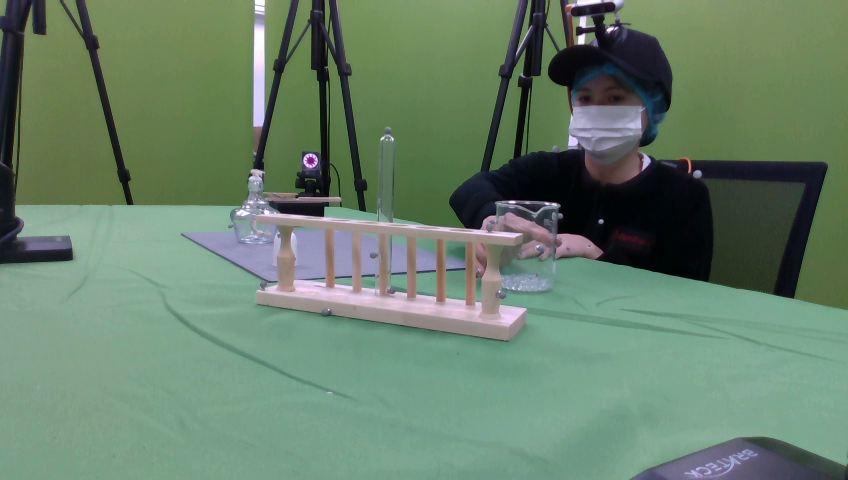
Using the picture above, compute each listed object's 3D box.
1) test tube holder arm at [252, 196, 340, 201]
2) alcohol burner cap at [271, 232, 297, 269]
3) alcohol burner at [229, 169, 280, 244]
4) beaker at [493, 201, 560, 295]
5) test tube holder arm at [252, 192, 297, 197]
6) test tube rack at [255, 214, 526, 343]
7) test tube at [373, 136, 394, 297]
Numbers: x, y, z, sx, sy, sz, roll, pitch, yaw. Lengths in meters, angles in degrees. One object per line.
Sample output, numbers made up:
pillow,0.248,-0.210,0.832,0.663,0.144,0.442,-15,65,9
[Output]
test tube holder arm,-0.260,-0.087,1.242,0.179,0.013,0.015,-1,7,-25
alcohol burner cap,-0.175,0.012,0.760,0.034,0.048,0.034,3,8,0
alcohol burner,-0.268,-0.053,0.958,0.078,0.119,0.078,2,6,0
beaker,0.115,0.009,0.687,0.074,0.100,0.084,1,9,-3
test tube holder arm,-0.301,-0.092,1.223,0.088,0.010,0.015,0,7,-25
test tube rack,-0.032,0.027,0.546,0.241,0.085,0.067,5,7,21
test tube,-0.038,-0.021,0.564,0.017,0.150,0.017,2,6,0
